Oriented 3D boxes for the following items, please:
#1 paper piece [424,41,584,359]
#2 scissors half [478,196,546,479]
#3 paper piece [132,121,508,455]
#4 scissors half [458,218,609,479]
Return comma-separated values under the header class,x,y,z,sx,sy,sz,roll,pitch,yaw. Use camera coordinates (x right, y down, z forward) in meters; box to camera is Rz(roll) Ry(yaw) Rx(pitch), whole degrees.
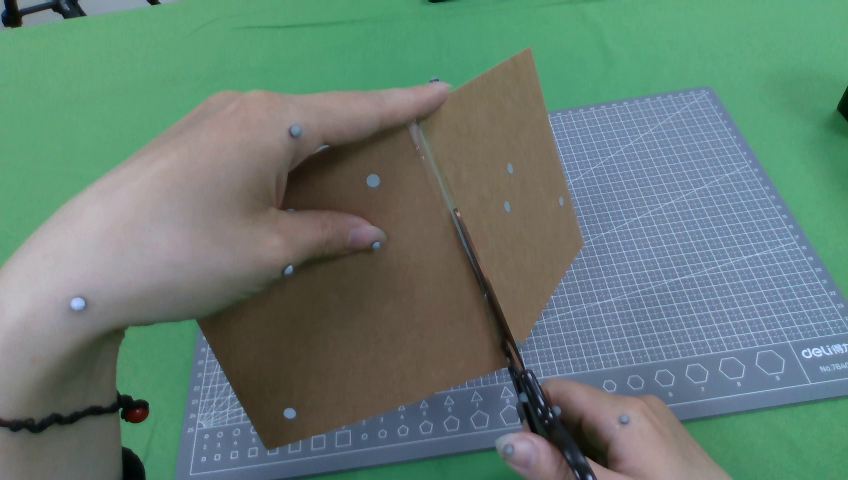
class,x,y,z,sx,sy,sz,roll,pitch,yaw
paper piece,0.055,-0.028,0.335,0.004,0.136,0.135,-2,26,36
scissors half,0.041,0.062,0.308,0.013,0.176,0.039,-17,20,-19
paper piece,-0.046,0.030,0.292,0.138,0.136,0.008,-20,15,4
scissors half,0.050,0.061,0.286,0.013,0.040,0.174,-16,74,-24
